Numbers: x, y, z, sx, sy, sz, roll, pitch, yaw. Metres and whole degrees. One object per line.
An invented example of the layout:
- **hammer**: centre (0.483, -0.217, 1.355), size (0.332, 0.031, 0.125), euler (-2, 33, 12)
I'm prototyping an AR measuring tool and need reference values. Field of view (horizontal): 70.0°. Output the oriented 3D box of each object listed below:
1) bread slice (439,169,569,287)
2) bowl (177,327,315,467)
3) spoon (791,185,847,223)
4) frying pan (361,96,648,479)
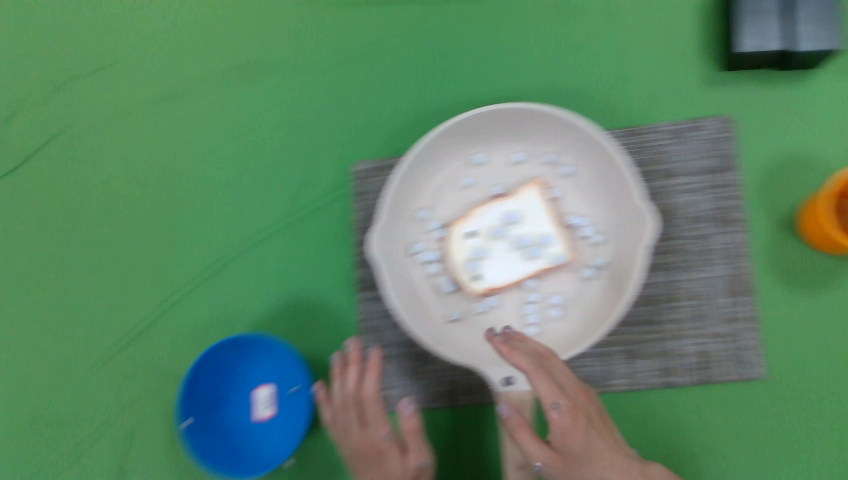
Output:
- **bread slice**: centre (0.086, -0.005, 0.702), size (0.134, 0.018, 0.106), euler (-27, 81, 1)
- **bowl**: centre (-0.189, 0.173, 0.690), size (0.151, 0.077, 0.151), euler (-1, 83, 6)
- **spoon**: centre (0.474, -0.045, 0.602), size (0.022, 0.193, 0.041), euler (6, 82, -37)
- **frying pan**: centre (0.090, 0.089, 0.650), size (0.306, 0.103, 0.485), euler (-4, 74, 7)
